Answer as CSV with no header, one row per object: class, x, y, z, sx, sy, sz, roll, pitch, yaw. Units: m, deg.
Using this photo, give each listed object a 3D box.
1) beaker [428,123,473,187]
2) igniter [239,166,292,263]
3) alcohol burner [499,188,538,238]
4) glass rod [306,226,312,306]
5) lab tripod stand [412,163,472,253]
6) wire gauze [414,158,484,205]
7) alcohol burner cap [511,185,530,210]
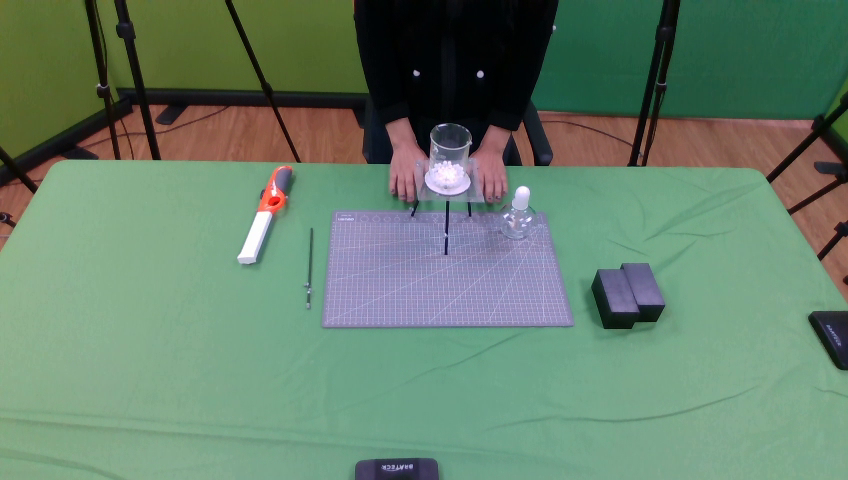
beaker,0.044,-0.154,1.109,0.074,0.101,0.083,-25,54,-25
igniter,-0.318,-0.060,1.229,0.057,0.025,0.275,-2,45,10
alcohol burner,0.189,-0.060,1.202,0.078,0.120,0.077,1,48,-1
glass rod,-0.218,0.045,1.148,0.008,0.008,0.198,-3,47,-6
lab tripod stand,0.043,-0.070,1.187,0.148,0.132,0.147,3,47,-3
wire gauze,0.045,-0.113,1.137,0.125,0.011,0.120,2,48,-6
alcohol burner cap,0.190,-0.086,1.176,0.034,0.048,0.033,3,50,-3
